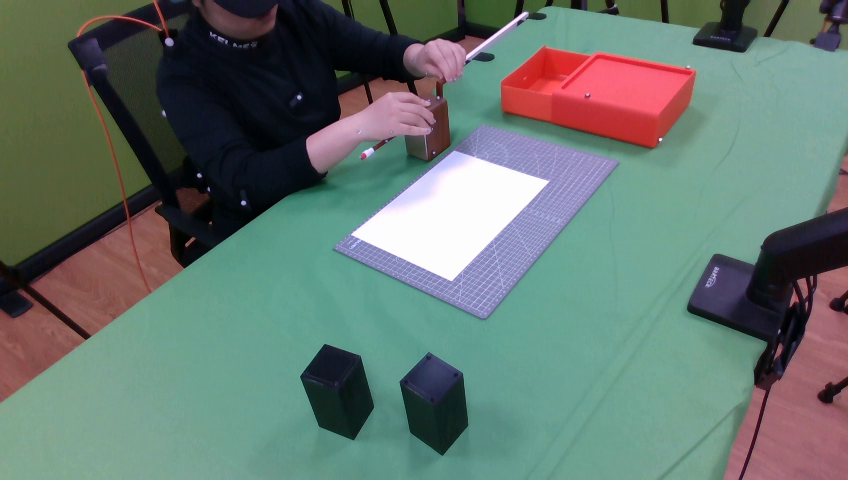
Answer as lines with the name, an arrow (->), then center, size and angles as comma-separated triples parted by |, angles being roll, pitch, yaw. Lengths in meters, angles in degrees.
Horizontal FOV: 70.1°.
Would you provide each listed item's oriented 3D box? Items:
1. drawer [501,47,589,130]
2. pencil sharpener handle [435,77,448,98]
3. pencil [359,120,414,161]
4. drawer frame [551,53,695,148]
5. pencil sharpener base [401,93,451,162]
drawer -> 0.296, -0.316, 1.256 | 0.210, 0.073, 0.195 | 22, 48, 29
pencil sharpener handle -> 0.035, -0.277, 1.159 | 0.035, 0.068, 0.031 | 25, 49, 33
pencil -> -0.051, -0.194, 1.098 | 0.012, 0.012, 0.194 | 23, 49, 32
drawer frame -> 0.391, -0.281, 1.196 | 0.212, 0.083, 0.202 | 22, 48, 29
pencil sharpener base -> 0.006, -0.216, 1.159 | 0.061, 0.107, 0.077 | 26, 49, 33
